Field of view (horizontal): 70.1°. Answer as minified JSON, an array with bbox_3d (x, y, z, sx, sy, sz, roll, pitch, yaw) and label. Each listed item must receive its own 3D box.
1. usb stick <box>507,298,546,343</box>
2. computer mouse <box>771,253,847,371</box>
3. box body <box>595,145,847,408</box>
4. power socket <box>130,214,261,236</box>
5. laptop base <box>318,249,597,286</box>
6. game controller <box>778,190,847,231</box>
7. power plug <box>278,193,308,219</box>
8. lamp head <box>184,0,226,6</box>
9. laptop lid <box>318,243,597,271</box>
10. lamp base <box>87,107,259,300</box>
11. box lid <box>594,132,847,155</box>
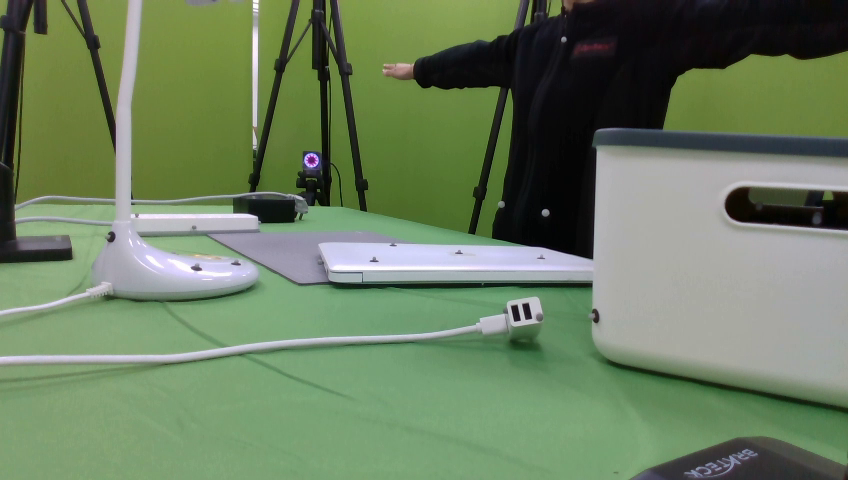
[{"bbox_3d":[0.079,0.065,0.470,0.027,0.021,0.059,-12,-24,4],"label":"usb stick"},{"bbox_3d":[0.344,0.056,0.518,0.063,0.041,0.117,13,48,2],"label":"computer mouse"},{"bbox_3d":[0.309,0.007,0.510,0.253,0.160,0.366,6,8,29],"label":"box body"},{"bbox_3d":[-0.397,-0.028,1.048,0.228,0.032,0.072,-3,7,-35],"label":"power socket"},{"bbox_3d":[0.046,0.034,0.789,0.355,0.023,0.235,1,5,-14],"label":"laptop base"},{"bbox_3d":[0.295,-0.013,0.419,0.097,0.051,0.155,-35,-9,9],"label":"game controller"},{"bbox_3d":[-0.293,-0.076,1.344,0.073,0.052,0.035,17,16,-16],"label":"power plug"},{"bbox_3d":[-0.229,-0.320,0.627,0.112,0.112,0.123,6,-35,26],"label":"lamp head"},{"bbox_3d":[0.046,0.022,0.789,0.358,0.013,0.241,1,6,-12],"label":"laptop lid"},{"bbox_3d":[-0.254,-0.039,0.603,0.160,0.180,0.179,4,10,18],"label":"lamp base"},{"bbox_3d":[0.310,-0.066,0.499,0.262,0.015,0.373,7,8,29],"label":"box lid"}]
